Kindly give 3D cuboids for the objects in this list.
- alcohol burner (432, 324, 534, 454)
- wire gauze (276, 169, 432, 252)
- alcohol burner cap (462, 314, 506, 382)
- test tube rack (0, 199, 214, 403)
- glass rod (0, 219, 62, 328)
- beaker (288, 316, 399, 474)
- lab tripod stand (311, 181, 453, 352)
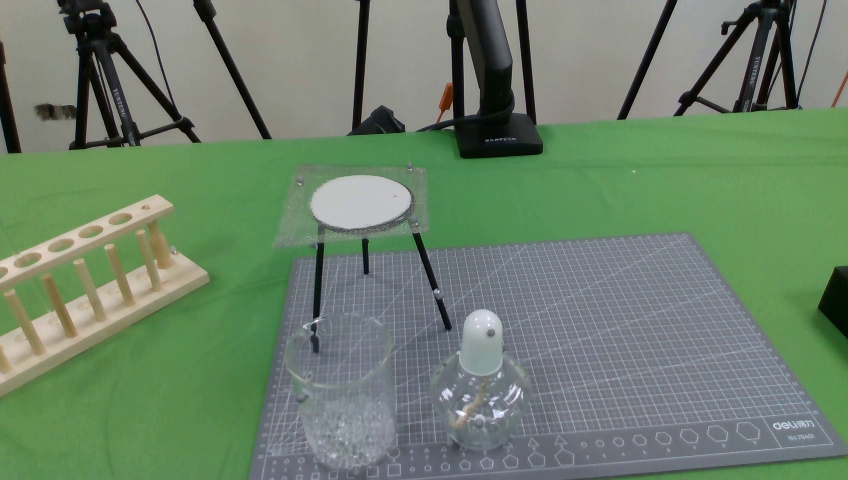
[{"bbox_3d":[0.044,0.103,0.451,0.078,0.120,0.077,-1,37,1],"label":"alcohol burner"},{"bbox_3d":[-0.055,-0.030,0.514,0.121,0.011,0.124,-1,35,-1],"label":"wire gauze"},{"bbox_3d":[0.044,0.074,0.430,0.034,0.048,0.033,0,37,0],"label":"alcohol burner cap"},{"bbox_3d":[-0.332,0.055,0.571,0.066,0.086,0.242,26,44,35],"label":"test tube rack"},{"bbox_3d":[-0.368,0.001,0.536,0.008,0.201,0.008,-6,32,4],"label":"glass rod"},{"bbox_3d":[-0.057,0.117,0.450,0.083,0.101,0.074,24,43,34],"label":"beaker"},{"bbox_3d":[-0.044,0.023,0.554,0.148,0.132,0.147,0,34,1],"label":"lab tripod stand"}]
